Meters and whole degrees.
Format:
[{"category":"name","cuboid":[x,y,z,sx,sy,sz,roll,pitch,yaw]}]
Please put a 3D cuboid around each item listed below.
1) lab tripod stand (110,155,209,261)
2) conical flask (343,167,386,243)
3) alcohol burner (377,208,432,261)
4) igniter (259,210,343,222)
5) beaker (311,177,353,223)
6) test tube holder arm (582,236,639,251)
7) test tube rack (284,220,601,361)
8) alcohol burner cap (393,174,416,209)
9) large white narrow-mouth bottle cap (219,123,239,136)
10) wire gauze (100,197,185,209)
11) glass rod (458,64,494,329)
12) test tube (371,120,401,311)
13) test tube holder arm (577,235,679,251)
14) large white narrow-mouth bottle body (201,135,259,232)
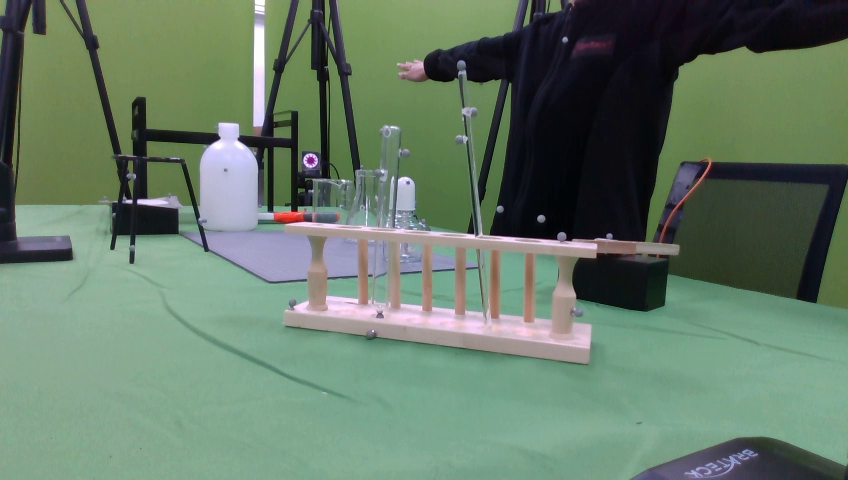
[{"category":"lab tripod stand","cuboid":[-0.361,-0.046,0.806,0.148,0.131,0.148,2,5,0]},{"category":"conical flask","cuboid":[-0.096,-0.059,1.001,0.075,0.122,0.075,2,8,0]},{"category":"alcohol burner","cuboid":[-0.027,-0.031,0.838,0.078,0.119,0.078,0,6,0]},{"category":"igniter","cuboid":[-0.303,-0.049,1.258,0.278,0.025,0.057,-2,-2,-28]},{"category":"beaker","cuboid":[-0.167,-0.064,1.106,0.074,0.100,0.083,-2,9,-27]},{"category":"test tube holder arm","cuboid":[0.194,0.004,0.629,0.088,0.015,0.010,2,13,-38]},{"category":"test tube rack","cuboid":[0.013,0.032,0.482,0.242,0.085,0.067,4,7,16]},{"category":"alcohol burner cap","cuboid":[-0.025,-0.067,0.833,0.034,0.048,0.034,5,12,-1]},{"category":"large white narrow-mouth bottle cap","cuboid":[-0.356,-0.201,1.105,0.038,0.024,0.037,2,8,0]},{"category":"wire gauze","cuboid":[-0.469,-0.062,1.008,0.126,0.011,0.121,-2,8,-25]},{"category":"glass rod","cuboid":[0.039,-0.029,0.449,0.008,0.199,0.008,-7,9,1]},{"category":"test tube","cuboid":[-0.030,-0.018,0.474,0.017,0.150,0.017,4,5,0]},{"category":"test tube holder arm","cuboid":[0.227,0.004,0.661,0.179,0.015,0.013,1,13,-39]},{"category":"large white narrow-mouth bottle body","cuboid":[-0.358,-0.116,1.116,0.102,0.194,0.102,2,8,0]}]
